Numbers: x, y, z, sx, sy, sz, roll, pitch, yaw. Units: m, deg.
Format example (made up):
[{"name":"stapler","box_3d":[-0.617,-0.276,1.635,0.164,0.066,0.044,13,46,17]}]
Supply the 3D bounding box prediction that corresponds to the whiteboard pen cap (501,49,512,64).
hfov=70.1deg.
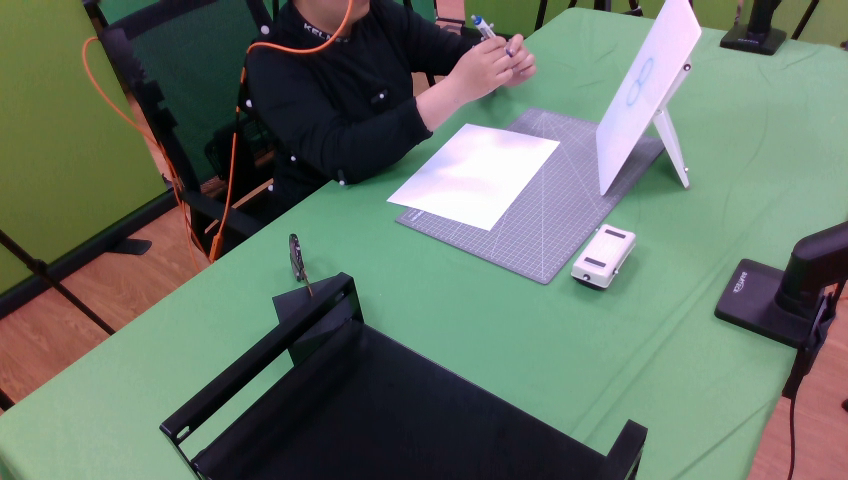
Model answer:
[{"name":"whiteboard pen cap","box_3d":[0.151,-0.342,1.122,0.018,0.033,0.018,-7,72,22]}]

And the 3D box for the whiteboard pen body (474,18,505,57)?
[{"name":"whiteboard pen body","box_3d":[0.121,-0.353,1.070,0.017,0.142,0.017,-6,76,27]}]

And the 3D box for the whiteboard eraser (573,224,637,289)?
[{"name":"whiteboard eraser","box_3d":[0.267,0.025,0.891,0.055,0.042,0.113,19,47,31]}]

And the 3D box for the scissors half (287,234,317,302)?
[{"name":"scissors half","box_3d":[-0.179,0.040,0.885,0.013,0.040,0.173,-11,36,-20]}]

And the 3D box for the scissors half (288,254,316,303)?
[{"name":"scissors half","box_3d":[-0.178,0.058,0.894,0.013,0.040,0.174,-16,21,-17]}]

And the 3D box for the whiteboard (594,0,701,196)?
[{"name":"whiteboard","box_3d":[0.420,-0.227,1.010,0.144,0.305,0.216,18,42,-2]}]
